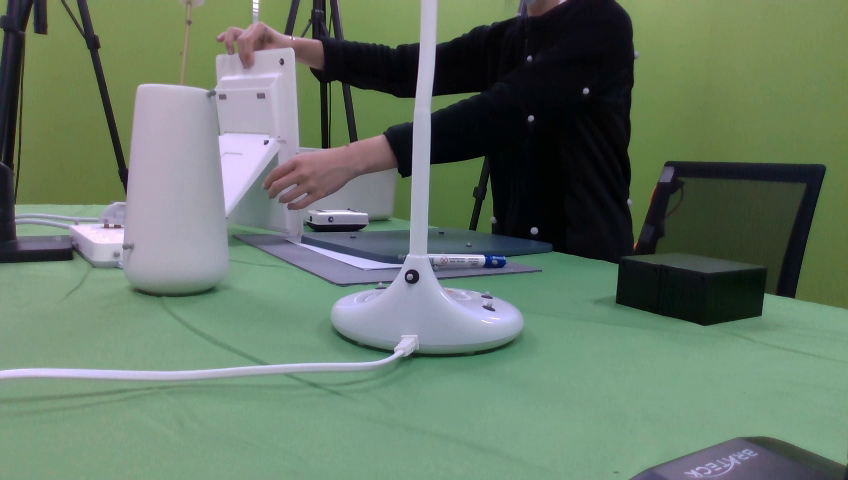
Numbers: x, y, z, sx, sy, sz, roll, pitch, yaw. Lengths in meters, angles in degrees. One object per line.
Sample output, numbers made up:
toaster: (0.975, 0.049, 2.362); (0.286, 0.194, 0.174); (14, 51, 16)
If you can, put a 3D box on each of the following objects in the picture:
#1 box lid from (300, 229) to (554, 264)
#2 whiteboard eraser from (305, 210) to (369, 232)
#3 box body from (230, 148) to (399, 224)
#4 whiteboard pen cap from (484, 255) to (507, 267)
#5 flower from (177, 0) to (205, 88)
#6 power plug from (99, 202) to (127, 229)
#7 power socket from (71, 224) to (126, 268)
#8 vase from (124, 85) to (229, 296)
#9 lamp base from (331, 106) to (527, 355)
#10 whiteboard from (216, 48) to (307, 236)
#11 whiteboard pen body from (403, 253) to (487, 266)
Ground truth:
box lid: (0.011, 0.006, 0.998); (0.374, 0.015, 0.262); (-3, 9, -43)
whiteboard eraser: (-0.168, -0.038, 1.172); (0.113, 0.042, 0.055); (-2, 7, -35)
box body: (-0.264, -0.129, 1.380); (0.253, 0.160, 0.366); (8, 9, 39)
whiteboard pen cap: (0.093, 0.028, 0.809); (0.033, 0.018, 0.018); (1, 7, -24)
flower: (-0.243, -0.131, 0.609); (0.044, 0.361, 0.038); (-5, -12, 12)
power plug: (-0.415, -0.026, 0.848); (0.073, 0.052, 0.035); (6, 5, -28)
power socket: (-0.409, 0.004, 0.793); (0.072, 0.032, 0.225); (-2, 8, -37)
vase: (-0.244, -0.047, 0.598); (0.098, 0.200, 0.098); (3, 8, 0)
lamp base: (0.006, -0.012, 0.478); (0.161, 0.180, 0.179); (2, 10, 2)
whiteboard: (-0.326, -0.154, 0.994); (0.216, 0.305, 0.144); (10, 17, 39)
whiteboard pen body: (0.039, 0.026, 0.785); (0.141, 0.017, 0.017); (2, 7, -24)
